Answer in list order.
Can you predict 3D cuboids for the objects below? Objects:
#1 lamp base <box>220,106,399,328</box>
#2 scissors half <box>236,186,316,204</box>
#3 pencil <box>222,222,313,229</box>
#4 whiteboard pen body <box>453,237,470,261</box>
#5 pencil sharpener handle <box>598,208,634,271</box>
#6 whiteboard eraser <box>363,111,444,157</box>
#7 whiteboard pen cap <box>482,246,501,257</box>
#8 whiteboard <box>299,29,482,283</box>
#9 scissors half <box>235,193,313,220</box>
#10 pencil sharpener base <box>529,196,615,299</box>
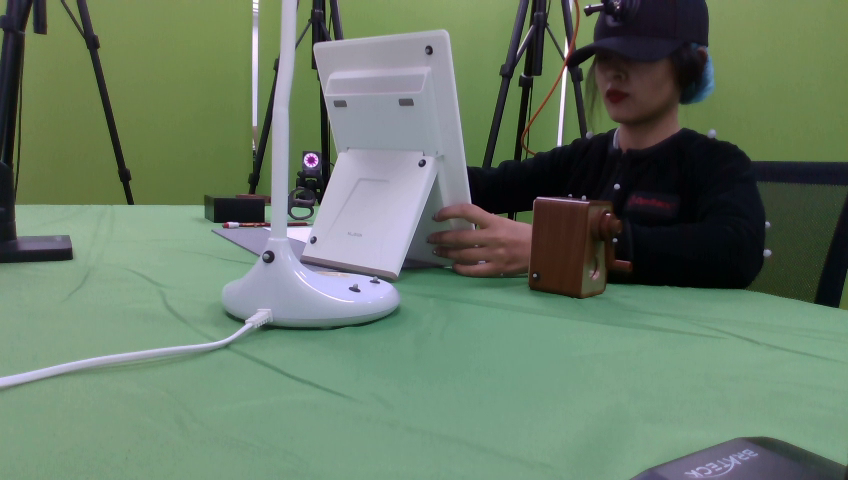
[{"bbox_3d":[-0.101,-0.023,0.531,0.160,0.180,0.179,4,10,10],"label":"lamp base"},{"bbox_3d":[-0.320,-0.097,1.316,0.176,0.040,0.013,-3,11,-29],"label":"scissors half"},{"bbox_3d":[-0.302,-0.030,1.188,0.195,0.012,0.012,-2,9,-42],"label":"pencil"},{"bbox_3d":[0.058,0.015,0.912,0.017,0.017,0.140,2,10,-3],"label":"whiteboard pen body"},{"bbox_3d":[0.208,0.000,0.644,0.030,0.068,0.036,10,23,42],"label":"pencil sharpener handle"},{"bbox_3d":[-0.030,-0.139,0.794,0.112,0.055,0.042,8,31,38],"label":"whiteboard eraser"},{"bbox_3d":[0.104,0.017,0.936,0.018,0.018,0.033,-1,4,-22],"label":"whiteboard pen cap"},{"bbox_3d":[-0.075,-0.082,0.742,0.216,0.305,0.144,9,29,37],"label":"whiteboard"},{"bbox_3d":[-0.325,-0.077,1.319,0.176,0.040,0.012,17,6,-31],"label":"scissors half"},{"bbox_3d":[0.168,0.007,0.678,0.076,0.107,0.062,10,10,42],"label":"pencil sharpener base"}]
